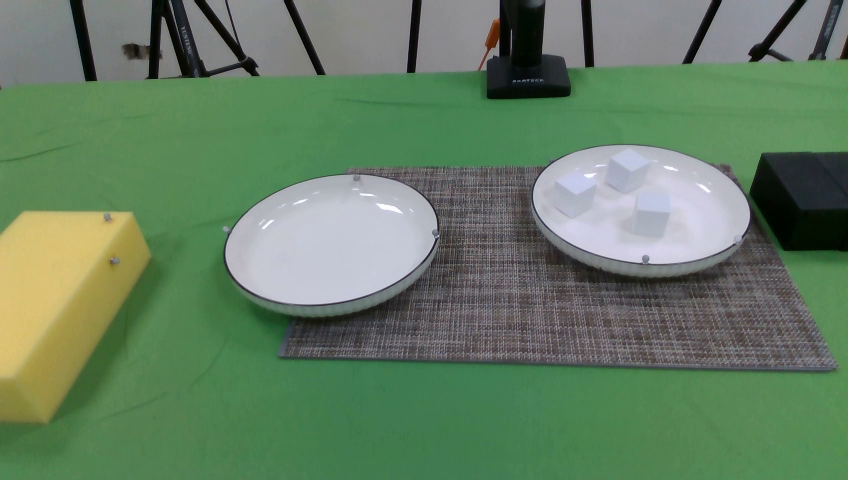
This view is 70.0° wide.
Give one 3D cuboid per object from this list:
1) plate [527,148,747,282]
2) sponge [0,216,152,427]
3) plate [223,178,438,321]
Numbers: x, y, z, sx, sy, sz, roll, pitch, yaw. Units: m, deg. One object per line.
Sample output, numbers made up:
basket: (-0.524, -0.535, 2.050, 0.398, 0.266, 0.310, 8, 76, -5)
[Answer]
plate: (0.208, -0.025, 0.613, 0.207, 0.039, 0.205, -2, 39, 2)
sponge: (-0.349, 0.062, 0.543, 0.118, 0.061, 0.205, 0, 39, 4)
plate: (-0.088, 0.009, 0.599, 0.209, 0.038, 0.207, -2, 38, 2)
